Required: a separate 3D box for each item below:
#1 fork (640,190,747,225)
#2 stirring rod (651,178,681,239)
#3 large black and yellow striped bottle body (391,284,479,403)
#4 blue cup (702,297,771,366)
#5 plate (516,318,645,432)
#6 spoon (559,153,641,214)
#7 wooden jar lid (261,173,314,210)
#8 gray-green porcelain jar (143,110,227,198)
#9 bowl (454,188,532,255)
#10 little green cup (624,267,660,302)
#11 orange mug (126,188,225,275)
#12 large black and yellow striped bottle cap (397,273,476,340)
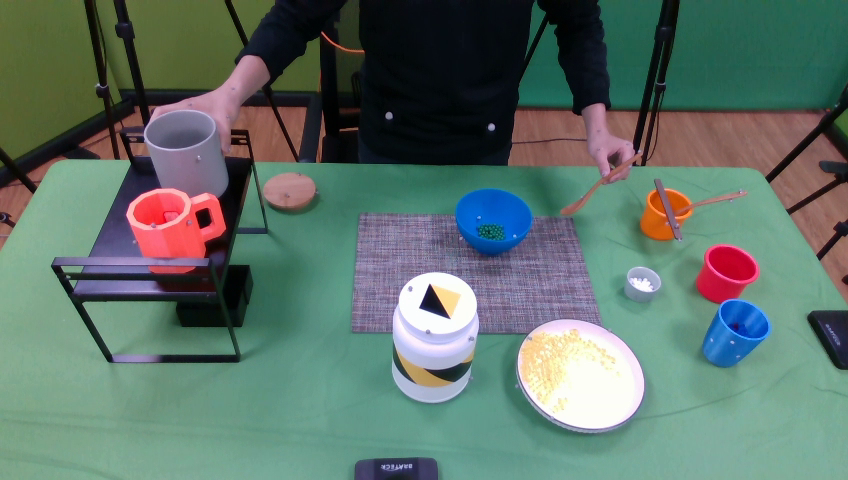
[{"bbox_3d":[0.533,-0.064,1.211,0.207,0.019,0.028,-22,28,38],"label":"fork"},{"bbox_3d":[0.480,-0.065,1.204,0.014,0.006,0.175,3,46,-3],"label":"stirring rod"},{"bbox_3d":[0.015,0.153,0.938,0.131,0.185,0.130,2,46,-2],"label":"large black and yellow striped bottle body"},{"bbox_3d":[0.519,0.162,1.025,0.093,0.101,0.092,3,45,-3],"label":"blue cup"},{"bbox_3d":[0.253,0.221,0.992,0.209,0.038,0.208,2,46,-2],"label":"plate"},{"bbox_3d":[0.337,-0.107,1.171,0.021,0.194,0.041,42,35,-6],"label":"spoon"},{"bbox_3d":[-0.286,-0.101,1.273,0.108,0.021,0.107,3,45,-3],"label":"wooden jar lid"},{"bbox_3d":[-0.375,-0.125,0.966,0.106,0.127,0.105,2,47,-2],"label":"gray-green porcelain jar"},{"bbox_3d":[0.131,-0.025,1.187,0.151,0.077,0.150,3,46,-2],"label":"bowl"},{"bbox_3d":[0.406,0.084,1.135,0.061,0.039,0.061,3,45,-3],"label":"little green cup"},{"bbox_3d":[-0.357,-0.020,0.885,0.126,0.101,0.083,-29,54,-23],"label":"orange mug"},{"bbox_3d":[0.018,0.094,0.878,0.115,0.019,0.114,3,46,-3],"label":"large black and yellow striped bottle cap"}]
